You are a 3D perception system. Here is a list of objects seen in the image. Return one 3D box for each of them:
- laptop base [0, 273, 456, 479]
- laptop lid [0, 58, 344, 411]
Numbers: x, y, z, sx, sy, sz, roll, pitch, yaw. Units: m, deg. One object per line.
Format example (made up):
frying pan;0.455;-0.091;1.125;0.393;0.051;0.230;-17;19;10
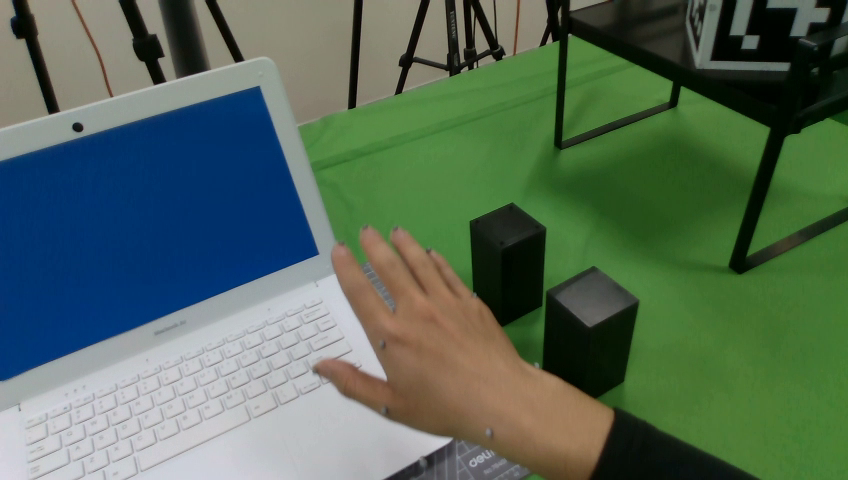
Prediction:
laptop base;-0.179;0.164;0.510;0.355;0.023;0.233;-23;45;-19
laptop lid;-0.264;-0.003;0.546;0.357;0.243;0.013;-24;24;-19
